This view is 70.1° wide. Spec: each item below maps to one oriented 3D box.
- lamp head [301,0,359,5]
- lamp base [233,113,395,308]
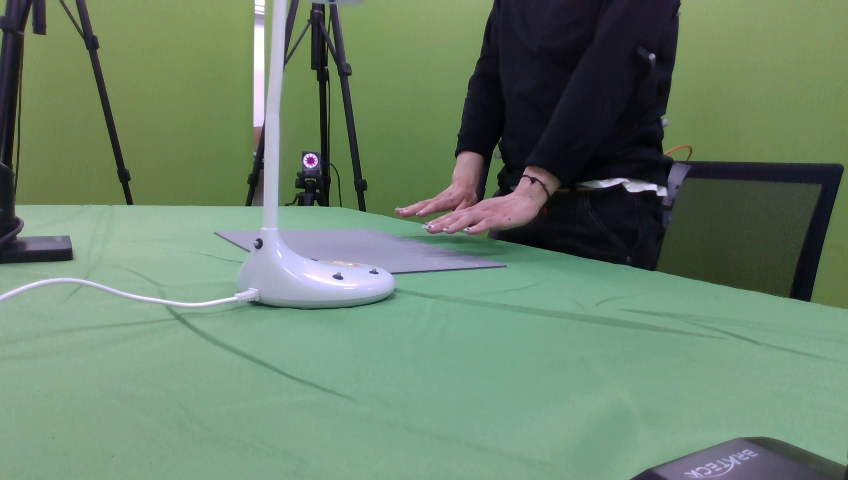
[{"bbox_3d":[-0.095,-0.314,0.610,0.112,0.123,0.112,-4,50,5],"label":"lamp head"},{"bbox_3d":[-0.113,-0.033,0.600,0.160,0.180,0.180,6,11,28],"label":"lamp base"}]
